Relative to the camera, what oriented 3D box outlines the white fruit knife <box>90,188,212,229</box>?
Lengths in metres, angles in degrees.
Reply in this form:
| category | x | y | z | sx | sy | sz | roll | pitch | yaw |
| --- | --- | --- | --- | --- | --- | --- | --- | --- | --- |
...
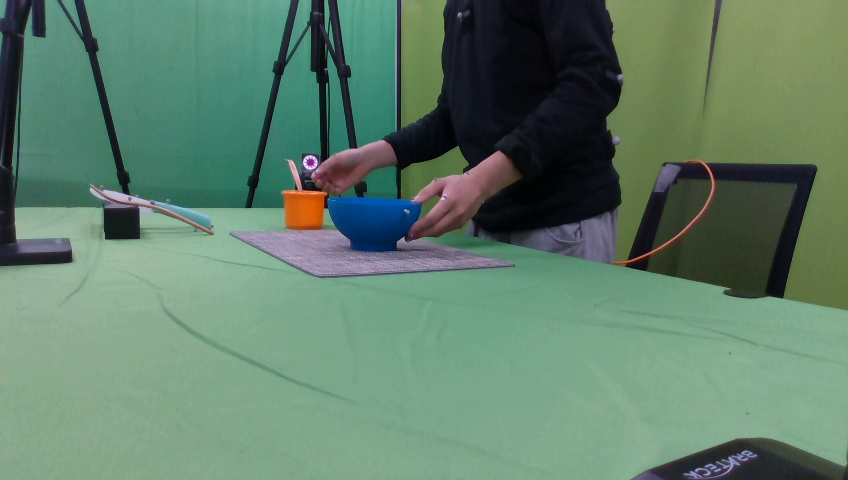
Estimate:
| category | x | y | z | sx | sy | sz | roll | pitch | yaw |
| --- | --- | --- | --- | --- | --- | --- | --- | --- | --- |
| white fruit knife | -0.478 | -0.058 | 1.073 | 0.208 | 0.027 | 0.016 | 17 | -4 | -30 |

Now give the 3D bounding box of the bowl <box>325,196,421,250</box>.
| category | x | y | z | sx | sy | sz | roll | pitch | yaw |
| --- | --- | --- | --- | --- | --- | --- | --- | --- | --- |
| bowl | -0.081 | -0.027 | 0.958 | 0.151 | 0.077 | 0.151 | 2 | 7 | 0 |

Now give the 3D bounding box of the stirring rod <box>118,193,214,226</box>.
| category | x | y | z | sx | sy | sz | roll | pitch | yaw |
| --- | --- | --- | --- | --- | --- | --- | --- | --- | --- |
| stirring rod | -0.484 | -0.056 | 1.142 | 0.177 | 0.006 | 0.014 | 21 | -5 | -29 |

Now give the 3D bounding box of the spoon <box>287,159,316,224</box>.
| category | x | y | z | sx | sy | sz | roll | pitch | yaw |
| --- | --- | --- | --- | --- | --- | --- | --- | --- | --- |
| spoon | -0.261 | -0.104 | 1.264 | 0.042 | 0.193 | 0.021 | 0 | -37 | -29 |

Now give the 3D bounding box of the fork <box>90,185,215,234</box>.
| category | x | y | z | sx | sy | sz | roll | pitch | yaw |
| --- | --- | --- | --- | --- | --- | --- | --- | --- | --- |
| fork | -0.452 | -0.049 | 1.018 | 0.208 | 0.018 | 0.028 | 21 | -7 | -33 |
